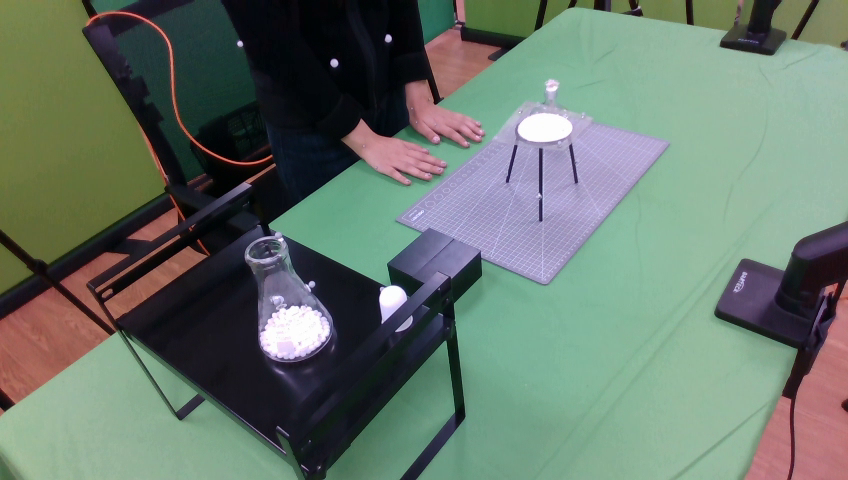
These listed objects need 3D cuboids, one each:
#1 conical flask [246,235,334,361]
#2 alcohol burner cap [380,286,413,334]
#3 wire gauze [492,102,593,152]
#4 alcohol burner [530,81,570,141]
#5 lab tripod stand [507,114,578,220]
[{"bbox_3d":[-0.134,0.053,0.576,0.075,0.122,0.075,-5,40,4],"label":"conical flask"},{"bbox_3d":[-0.029,0.068,0.605,0.034,0.048,0.033,-5,40,4],"label":"alcohol burner cap"},{"bbox_3d":[0.190,-0.180,0.964,0.120,0.011,0.125,19,47,27],"label":"wire gauze"},{"bbox_3d":[0.241,-0.251,1.159,0.078,0.119,0.077,-3,42,4],"label":"alcohol burner"},{"bbox_3d":[0.198,-0.128,1.005,0.148,0.132,0.147,-3,42,3],"label":"lab tripod stand"}]
